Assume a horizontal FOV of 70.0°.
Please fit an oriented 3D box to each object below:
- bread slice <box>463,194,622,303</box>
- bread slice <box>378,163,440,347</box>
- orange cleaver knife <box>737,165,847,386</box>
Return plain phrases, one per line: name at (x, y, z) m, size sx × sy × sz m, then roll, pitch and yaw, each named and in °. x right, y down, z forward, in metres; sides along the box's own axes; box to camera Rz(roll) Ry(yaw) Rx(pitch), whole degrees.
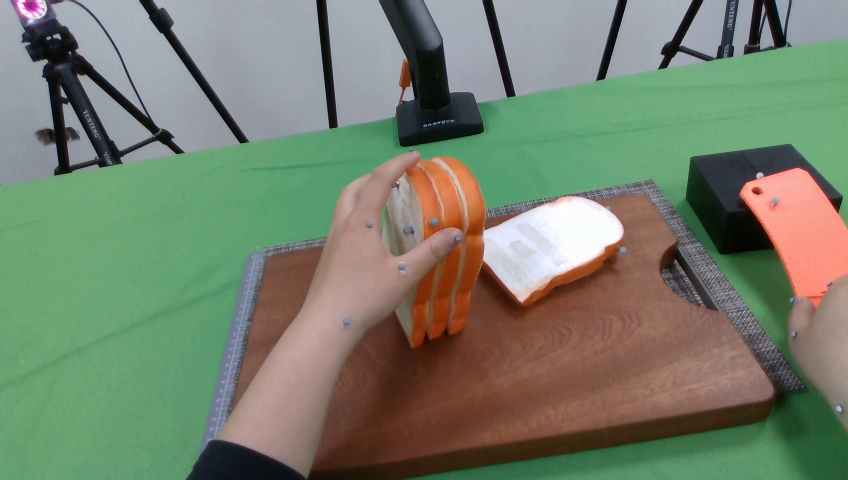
bread slice at (0.116, 0.002, 0.562) m, size 0.131 × 0.019 × 0.103 m, roll -25°, pitch 38°, yaw -11°
bread slice at (-0.014, 0.004, 0.510) m, size 0.018 × 0.135 × 0.106 m, roll -6°, pitch 33°, yaw -20°
orange cleaver knife at (0.324, 0.019, 0.502) m, size 0.077 × 0.012 × 0.209 m, roll -4°, pitch 54°, yaw 6°
